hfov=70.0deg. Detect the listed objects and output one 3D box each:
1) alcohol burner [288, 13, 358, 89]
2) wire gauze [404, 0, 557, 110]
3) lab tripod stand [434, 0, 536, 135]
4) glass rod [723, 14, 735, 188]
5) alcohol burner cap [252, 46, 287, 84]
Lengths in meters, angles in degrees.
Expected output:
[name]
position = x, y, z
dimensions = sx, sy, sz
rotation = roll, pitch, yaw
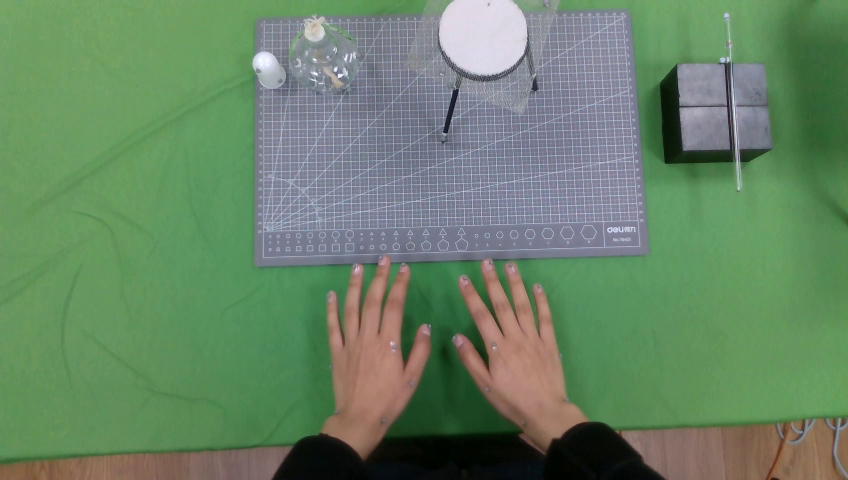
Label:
[alcohol burner]
position = -0.112, -0.213, 0.661
dimensions = 0.078, 0.119, 0.077
rotation = 0, 82, -2
[wire gauze]
position = 0.056, -0.202, 0.585
dimensions = 0.125, 0.011, 0.121
rotation = 20, 83, 1
[lab tripod stand]
position = 0.059, -0.194, 0.651
dimensions = 0.148, 0.132, 0.148
rotation = 0, 81, -1
[glass rod]
position = 0.336, -0.154, 0.667
dimensions = 0.008, 0.008, 0.199
rotation = 2, 83, 0
[alcohol burner cap]
position = -0.179, -0.203, 0.694
dimensions = 0.034, 0.048, 0.033
rotation = 0, 81, 3
